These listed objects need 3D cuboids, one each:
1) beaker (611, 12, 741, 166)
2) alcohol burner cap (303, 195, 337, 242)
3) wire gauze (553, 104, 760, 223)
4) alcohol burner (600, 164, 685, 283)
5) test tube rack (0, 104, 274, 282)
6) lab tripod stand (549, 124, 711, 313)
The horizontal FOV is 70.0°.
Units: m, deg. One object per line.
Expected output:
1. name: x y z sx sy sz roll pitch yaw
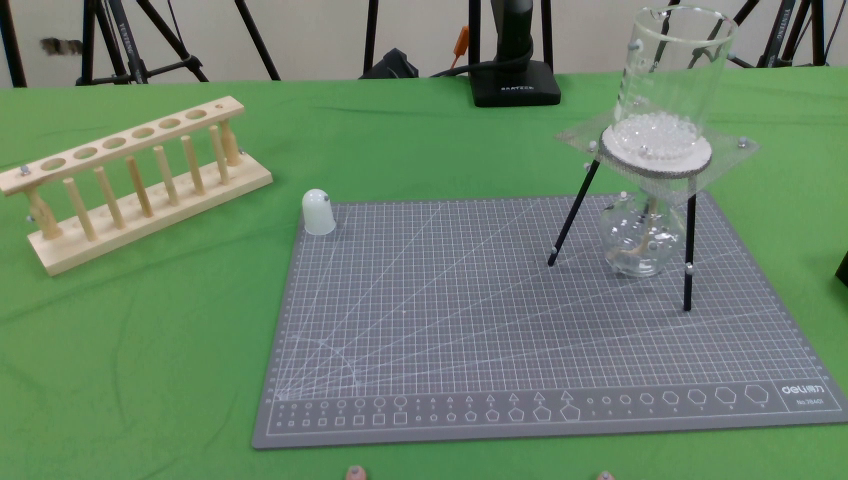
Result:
1. beaker: 0.190 -0.118 0.475 0.074 0.101 0.083 -6 40 -7
2. alcohol burner cap: -0.108 -0.025 0.622 0.034 0.048 0.033 0 40 0
3. wire gauze: 0.190 -0.073 0.498 0.121 0.011 0.124 -28 50 -27
4. alcohol burner: 0.203 -0.019 0.552 0.078 0.120 0.077 0 41 0
5. test tube rack: -0.287 -0.057 0.636 0.242 0.086 0.066 -29 46 -30
6. lab tripod stand: 0.195 -0.023 0.541 0.148 0.132 0.147 1 39 0
